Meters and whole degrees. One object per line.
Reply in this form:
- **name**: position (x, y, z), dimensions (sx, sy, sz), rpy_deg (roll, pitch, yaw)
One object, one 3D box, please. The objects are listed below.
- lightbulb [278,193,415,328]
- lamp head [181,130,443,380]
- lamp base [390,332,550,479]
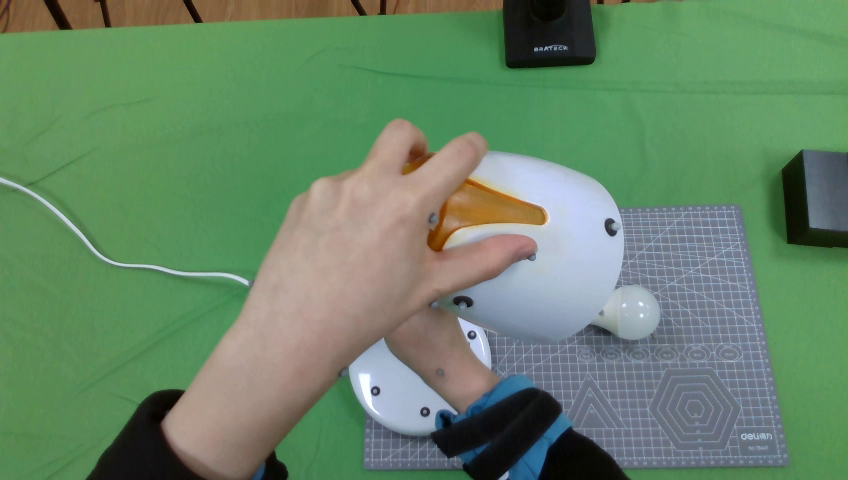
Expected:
- **lightbulb**: position (-0.045, 0.012, 0.287), dimensions (0.060, 0.107, 0.059), rpy_deg (4, 82, -28)
- **lamp head**: position (-0.065, 0.021, 0.305), dimensions (0.113, 0.123, 0.111), rpy_deg (18, 58, -32)
- **lamp base**: position (0.038, 0.150, 0.598), dimensions (0.179, 0.181, 0.159), rpy_deg (8, 69, 11)
